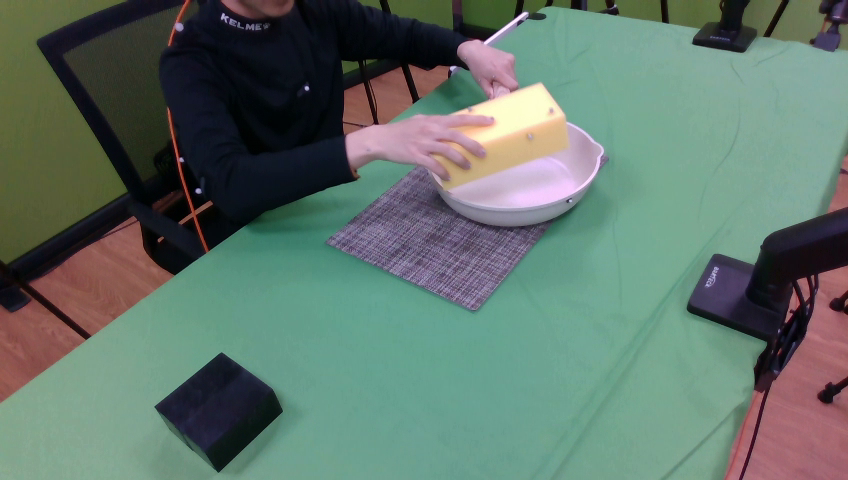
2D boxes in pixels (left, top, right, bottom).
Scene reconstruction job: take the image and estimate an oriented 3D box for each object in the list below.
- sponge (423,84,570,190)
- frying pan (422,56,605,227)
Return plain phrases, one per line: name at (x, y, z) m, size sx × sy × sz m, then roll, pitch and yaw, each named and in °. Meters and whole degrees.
sponge at (0.111, -0.164, 0.954) m, size 0.207 × 0.061 × 0.117 m, roll -18°, pitch 40°, yaw 1°
frying pan at (0.155, -0.200, 1.111) m, size 0.307 × 0.103 × 0.485 m, roll -2°, pitch 49°, yaw 4°
